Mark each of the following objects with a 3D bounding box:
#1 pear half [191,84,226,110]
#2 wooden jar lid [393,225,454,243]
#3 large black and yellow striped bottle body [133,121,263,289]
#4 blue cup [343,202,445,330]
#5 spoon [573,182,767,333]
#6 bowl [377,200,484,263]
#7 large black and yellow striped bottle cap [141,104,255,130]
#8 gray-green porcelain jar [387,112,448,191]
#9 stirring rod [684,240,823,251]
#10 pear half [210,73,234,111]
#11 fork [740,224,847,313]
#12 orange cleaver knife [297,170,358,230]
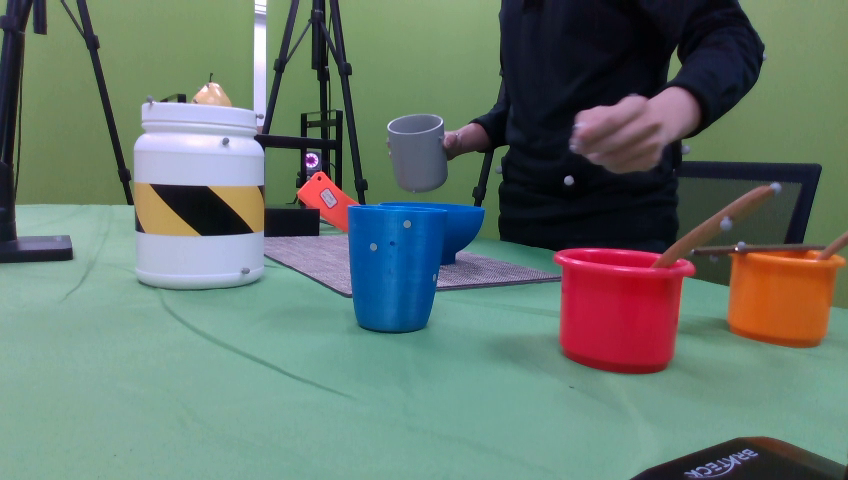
[{"bbox_3d":[-0.406,-0.248,1.128,0.070,0.088,0.031,5,7,2],"label":"pear half"},{"bbox_3d":[-0.001,-0.011,1.057,0.108,0.020,0.108,8,5,0],"label":"wooden jar lid"},{"bbox_3d":[-0.243,-0.048,0.659,0.131,0.184,0.130,2,7,0],"label":"large black and yellow striped bottle body"},{"bbox_3d":[-0.027,0.021,0.510,0.093,0.100,0.092,3,5,0],"label":"blue cup"},{"bbox_3d":[0.158,0.020,0.412,0.042,0.021,0.193,-2,-35,-21],"label":"spoon"},{"bbox_3d":[0.008,-0.012,0.842,0.151,0.077,0.151,2,7,0],"label":"bowl"},{"bbox_3d":[-0.241,-0.131,0.650,0.115,0.019,0.115,3,8,0],"label":"large black and yellow striped bottle cap"},{"bbox_3d":[-0.010,-0.165,1.141,0.106,0.126,0.105,-5,31,3],"label":"gray-green porcelain jar"},{"bbox_3d":[0.289,0.005,0.525,0.177,0.006,0.014,-1,7,-26],"label":"stirring rod"},{"bbox_3d":[-0.402,-0.262,1.162,0.076,0.109,0.056,6,7,2],"label":"pear half"},{"bbox_3d":[0.323,0.013,0.485,0.028,0.018,0.207,8,-37,-6],"label":"fork"},{"bbox_3d":[-0.149,-0.058,1.170,0.212,0.077,0.012,33,-15,-32],"label":"orange cleaver knife"}]
